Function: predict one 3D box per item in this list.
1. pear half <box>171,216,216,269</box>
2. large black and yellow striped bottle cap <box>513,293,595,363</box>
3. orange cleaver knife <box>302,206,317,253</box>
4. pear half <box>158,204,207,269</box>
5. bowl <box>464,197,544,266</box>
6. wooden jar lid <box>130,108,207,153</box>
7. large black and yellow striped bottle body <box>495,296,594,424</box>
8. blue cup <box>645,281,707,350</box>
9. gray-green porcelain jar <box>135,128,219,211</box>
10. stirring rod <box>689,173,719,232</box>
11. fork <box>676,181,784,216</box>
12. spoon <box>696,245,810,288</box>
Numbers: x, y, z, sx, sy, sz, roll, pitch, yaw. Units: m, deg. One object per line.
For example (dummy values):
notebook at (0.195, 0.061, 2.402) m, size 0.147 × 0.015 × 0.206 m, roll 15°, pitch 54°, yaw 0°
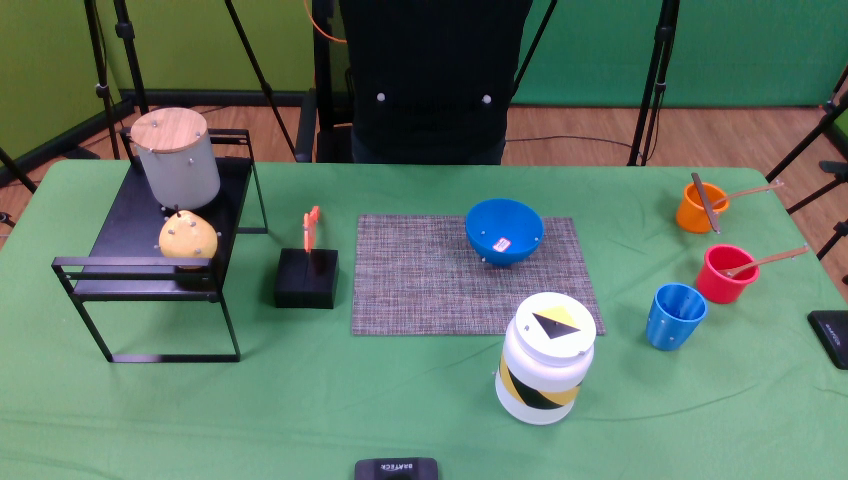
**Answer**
pear half at (-0.323, 0.007, 0.867) m, size 0.031 × 0.088 × 0.070 m, roll 25°, pitch 46°, yaw 21°
large black and yellow striped bottle cap at (0.186, 0.123, 0.863) m, size 0.115 × 0.019 × 0.114 m, roll 3°, pitch 45°, yaw -3°
orange cleaver knife at (-0.217, -0.024, 1.150) m, size 0.012 × 0.077 × 0.210 m, roll -2°, pitch 11°, yaw -5°
pear half at (-0.352, -0.015, 0.873) m, size 0.056 × 0.110 × 0.076 m, roll 25°, pitch 45°, yaw 19°
bowl at (0.149, -0.004, 1.167) m, size 0.151 × 0.077 × 0.150 m, roll 2°, pitch 46°, yaw -2°
wooden jar lid at (-0.384, -0.162, 0.914) m, size 0.108 × 0.021 × 0.107 m, roll 4°, pitch 46°, yaw -4°
large black and yellow striped bottle body at (0.183, 0.182, 0.923) m, size 0.131 × 0.185 × 0.130 m, roll 2°, pitch 46°, yaw -2°
blue cup at (0.425, 0.136, 1.042) m, size 0.092 × 0.101 × 0.092 m, roll 1°, pitch 45°, yaw -1°
gray-green porcelain jar at (-0.386, -0.118, 0.959) m, size 0.106 × 0.127 × 0.105 m, roll 2°, pitch 46°, yaw -2°
stirring rod at (0.566, -0.080, 1.225) m, size 0.014 × 0.006 × 0.175 m, roll 2°, pitch 46°, yaw 2°
fork at (0.618, -0.084, 1.235) m, size 0.207 × 0.019 × 0.028 m, roll -23°, pitch 20°, yaw 38°
spoon at (0.601, 0.047, 1.114) m, size 0.193 × 0.022 × 0.041 m, roll -26°, pitch 36°, yaw 33°
